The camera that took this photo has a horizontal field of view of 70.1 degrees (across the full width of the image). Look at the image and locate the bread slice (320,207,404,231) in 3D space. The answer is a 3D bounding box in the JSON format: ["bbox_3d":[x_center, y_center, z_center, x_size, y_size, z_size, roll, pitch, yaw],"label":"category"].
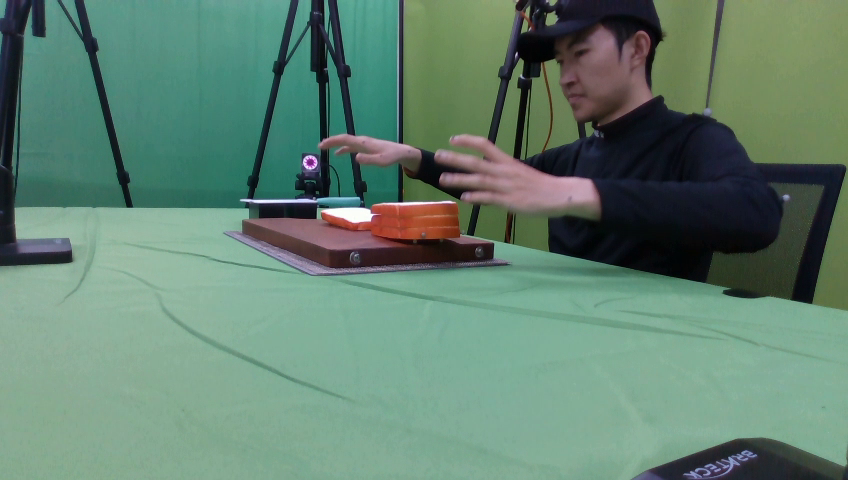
[{"bbox_3d":[-0.114,-0.037,1.042,0.105,0.019,0.131,-6,16,-41],"label":"bread slice"}]

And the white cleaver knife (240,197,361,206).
[{"bbox_3d":[-0.254,-0.086,1.296,0.065,0.021,0.288,8,8,43],"label":"white cleaver knife"}]

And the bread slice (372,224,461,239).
[{"bbox_3d":[-0.009,-0.013,0.888,0.107,0.018,0.134,-3,4,-21],"label":"bread slice"}]
